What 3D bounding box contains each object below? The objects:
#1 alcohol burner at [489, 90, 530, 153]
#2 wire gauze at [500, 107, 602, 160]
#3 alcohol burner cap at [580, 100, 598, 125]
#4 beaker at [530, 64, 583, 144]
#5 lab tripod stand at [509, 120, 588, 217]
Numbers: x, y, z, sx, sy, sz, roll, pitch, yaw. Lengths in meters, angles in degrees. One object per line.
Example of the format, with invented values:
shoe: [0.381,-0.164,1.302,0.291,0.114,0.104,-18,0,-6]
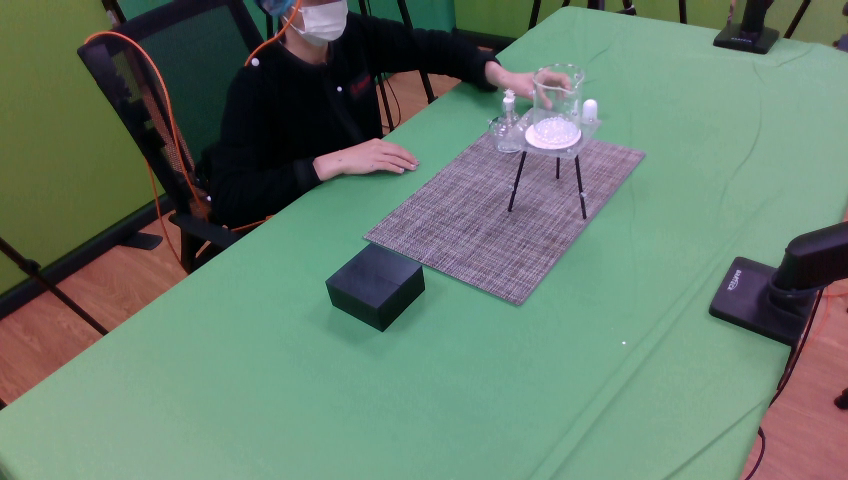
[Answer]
alcohol burner: [0.160,-0.226,1.137,0.078,0.119,0.077,-6,41,5]
wire gauze: [0.199,-0.166,0.945,0.120,0.011,0.125,17,50,28]
alcohol burner cap: [0.331,-0.258,1.210,0.034,0.048,0.033,-5,41,4]
beaker: [0.201,-0.201,0.909,0.074,0.101,0.083,-19,43,-10]
lab tripod stand: [0.208,-0.114,0.983,0.148,0.132,0.147,-5,42,5]
